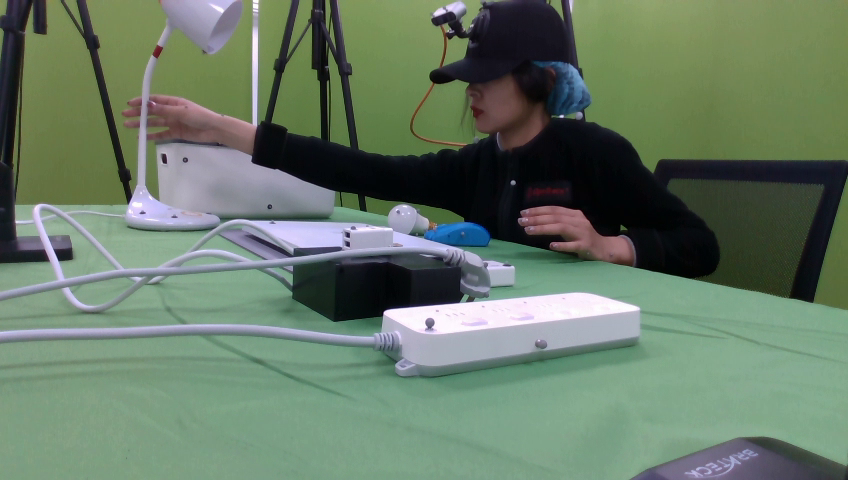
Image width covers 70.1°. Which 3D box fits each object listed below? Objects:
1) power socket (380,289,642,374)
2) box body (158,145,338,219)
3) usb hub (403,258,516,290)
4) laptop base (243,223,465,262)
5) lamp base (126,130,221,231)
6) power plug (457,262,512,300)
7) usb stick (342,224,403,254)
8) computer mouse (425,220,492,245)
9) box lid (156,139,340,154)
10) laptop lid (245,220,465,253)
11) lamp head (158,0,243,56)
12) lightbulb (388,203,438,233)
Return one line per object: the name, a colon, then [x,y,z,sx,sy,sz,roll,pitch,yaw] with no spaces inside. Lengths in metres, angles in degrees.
power socket: [0.072,0.064,0.461,0.228,0.032,0.072,-2,7,-30]
box body: [-0.410,-0.139,1.414,0.366,0.160,0.253,-3,8,-33]
usb hub: [0.042,0.038,0.690,0.126,0.025,0.049,-2,9,-30]
laptop base: [-0.126,0.003,0.945,0.237,0.023,0.352,2,6,-31]
lamp base: [-0.469,-0.112,1.108,0.179,0.180,0.160,0,7,4]
power plug: [0.052,0.051,0.543,0.035,0.052,0.072,6,37,-19]
usb stick: [-0.047,-0.001,0.567,0.059,0.027,0.021,0,5,-32]
computer mouse: [0.060,-0.013,1.060,0.117,0.041,0.062,-2,10,-6]
box lid: [-0.409,-0.213,1.404,0.373,0.015,0.262,-2,8,-32]
laptop lid: [-0.124,-0.009,0.945,0.243,0.013,0.355,1,7,-29]
lamp head: [-0.398,-0.397,1.057,0.123,0.112,0.112,27,5,-7]
lightbulb: [-0.018,-0.035,1.162,0.108,0.059,0.059,16,0,-27]
